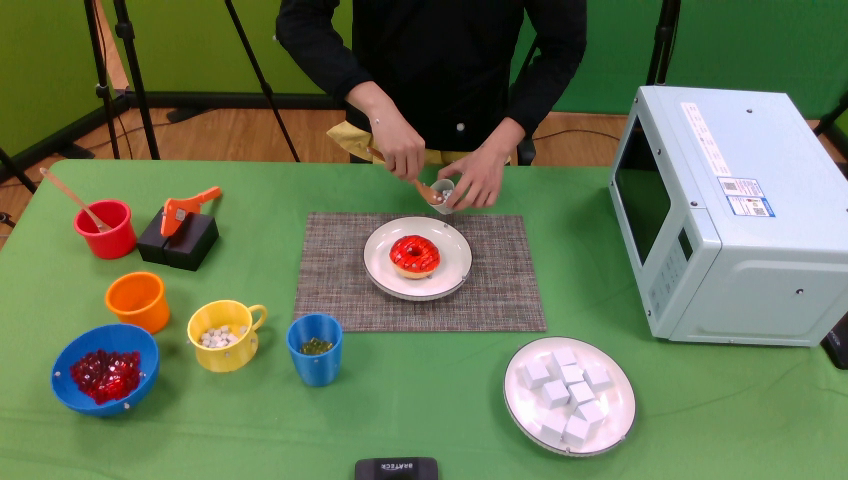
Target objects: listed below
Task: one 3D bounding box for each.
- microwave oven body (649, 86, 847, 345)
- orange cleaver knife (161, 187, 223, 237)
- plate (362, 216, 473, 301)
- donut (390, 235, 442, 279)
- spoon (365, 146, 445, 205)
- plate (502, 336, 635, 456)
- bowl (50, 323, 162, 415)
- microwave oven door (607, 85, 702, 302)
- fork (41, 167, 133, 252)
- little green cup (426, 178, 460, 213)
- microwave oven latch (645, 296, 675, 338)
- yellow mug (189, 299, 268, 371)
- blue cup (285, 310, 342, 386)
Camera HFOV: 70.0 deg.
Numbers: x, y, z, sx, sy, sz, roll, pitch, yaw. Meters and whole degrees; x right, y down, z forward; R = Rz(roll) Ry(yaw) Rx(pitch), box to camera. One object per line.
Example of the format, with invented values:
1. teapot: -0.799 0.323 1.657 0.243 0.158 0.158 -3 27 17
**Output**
1. microwave oven body: 0.568 -0.053 1.118 0.326 0.261 0.439 2 45 -1
2. orange cleaver knife: -0.448 -0.058 1.181 0.012 0.077 0.211 13 17 6
3. plate: -0.012 0.038 1.145 0.209 0.038 0.208 2 46 -2
4. donut: -0.016 0.032 1.135 0.099 0.048 0.098 3 44 -3
5. spoon: -0.032 -0.119 1.100 0.021 0.195 0.041 -32 40 28
6. plate: 0.225 0.248 0.963 0.208 0.039 0.206 2 46 -2
7. bowl: -0.472 0.209 0.924 0.151 0.077 0.150 3 45 -2
8. microwave oven door: 0.423 -0.094 1.141 0.039 0.245 0.353 2 46 -1
9. fork: -0.624 -0.056 1.121 0.208 0.018 0.028 49 51 -15
10. little green cup: 0.037 -0.082 1.149 0.061 0.039 0.061 -14 59 24
11. microwave oven latch: 0.412 0.134 1.061 0.030 0.029 0.078 3 45 0
12. yellow mug: -0.316 0.148 1.002 0.131 0.064 0.099 -32 56 -31
13. blue cup: -0.170 0.179 0.958 0.093 0.101 0.092 2 44 -1
